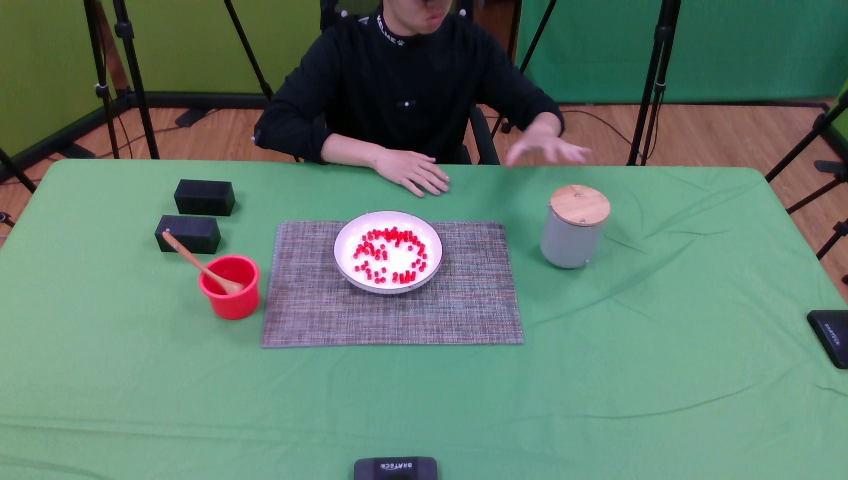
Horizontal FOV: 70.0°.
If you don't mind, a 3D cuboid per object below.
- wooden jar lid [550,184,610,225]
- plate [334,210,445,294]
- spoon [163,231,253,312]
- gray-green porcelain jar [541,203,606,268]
[{"bbox_3d":[0.286,-0.061,1.114,0.108,0.021,0.107,0,46,0],"label":"wooden jar lid"},{"bbox_3d":[-0.066,0.026,1.150,0.208,0.039,0.206,2,46,-2],"label":"plate"},{"bbox_3d":[-0.364,0.054,1.025,0.194,0.021,0.041,43,49,-17],"label":"spoon"},{"bbox_3d":[0.283,-0.017,1.161,0.106,0.127,0.105,2,46,-2],"label":"gray-green porcelain jar"}]
